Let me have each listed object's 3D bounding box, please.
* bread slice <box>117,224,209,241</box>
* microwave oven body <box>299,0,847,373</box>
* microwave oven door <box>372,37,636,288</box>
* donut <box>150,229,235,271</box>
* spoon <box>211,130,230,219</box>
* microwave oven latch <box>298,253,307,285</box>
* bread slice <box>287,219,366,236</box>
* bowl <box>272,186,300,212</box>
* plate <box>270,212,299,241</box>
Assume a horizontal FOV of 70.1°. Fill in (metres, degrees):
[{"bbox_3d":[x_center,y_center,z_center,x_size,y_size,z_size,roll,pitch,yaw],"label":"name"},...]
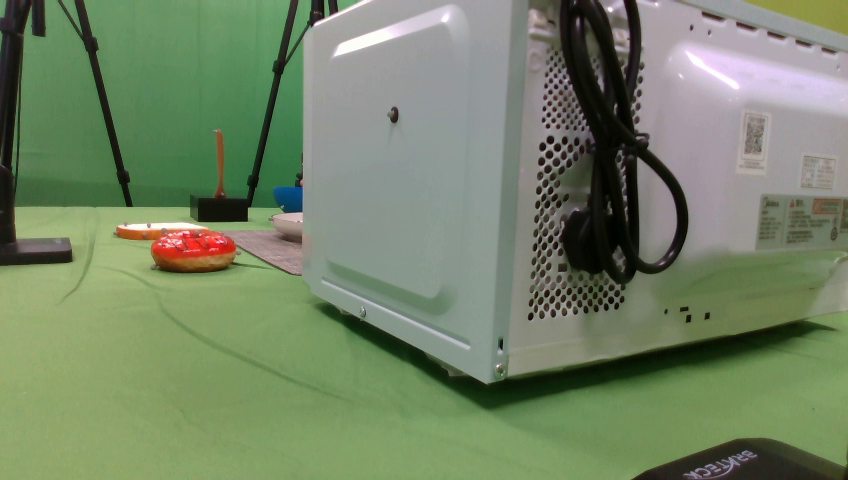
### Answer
[{"bbox_3d":[-0.443,-0.015,1.022,0.132,0.019,0.104,-3,8,-45],"label":"bread slice"},{"bbox_3d":[0.151,-0.055,0.542,0.444,0.260,0.324,-2,7,-33],"label":"microwave oven body"},{"bbox_3d":[0.110,-0.080,0.686,0.358,0.243,0.039,-2,9,-33],"label":"microwave oven door"},{"bbox_3d":[-0.285,0.013,0.747,0.099,0.048,0.099,3,10,0],"label":"donut"},{"bbox_3d":[-0.436,-0.138,1.296,0.042,0.193,0.021,-3,23,-27],"label":"spoon"},{"bbox_3d":[-0.081,0.027,0.582,0.079,0.029,0.030,-2,7,-32],"label":"microwave oven latch"},{"bbox_3d":[-0.170,-0.022,1.056,0.134,0.018,0.107,1,7,-6],"label":"bread slice"},{"bbox_3d":[-0.254,-0.075,1.318,0.151,0.077,0.151,2,7,0],"label":"bowl"},{"bbox_3d":[-0.162,-0.022,1.058,0.208,0.039,0.207,2,7,0],"label":"plate"}]
